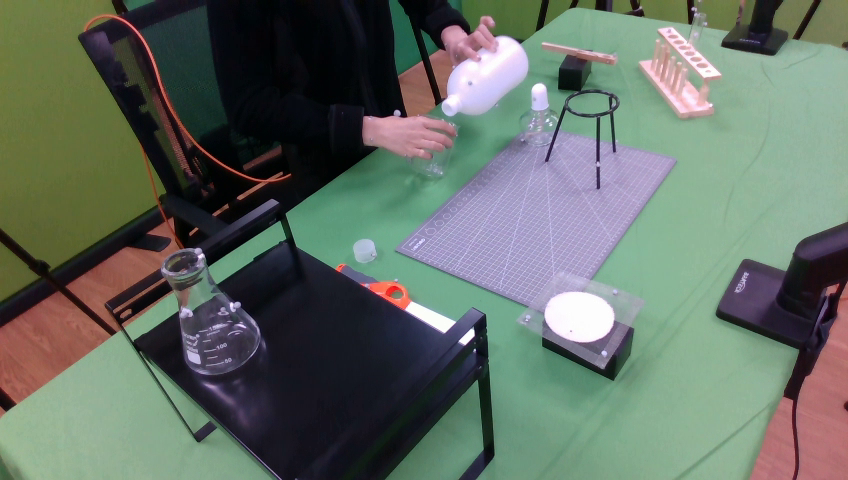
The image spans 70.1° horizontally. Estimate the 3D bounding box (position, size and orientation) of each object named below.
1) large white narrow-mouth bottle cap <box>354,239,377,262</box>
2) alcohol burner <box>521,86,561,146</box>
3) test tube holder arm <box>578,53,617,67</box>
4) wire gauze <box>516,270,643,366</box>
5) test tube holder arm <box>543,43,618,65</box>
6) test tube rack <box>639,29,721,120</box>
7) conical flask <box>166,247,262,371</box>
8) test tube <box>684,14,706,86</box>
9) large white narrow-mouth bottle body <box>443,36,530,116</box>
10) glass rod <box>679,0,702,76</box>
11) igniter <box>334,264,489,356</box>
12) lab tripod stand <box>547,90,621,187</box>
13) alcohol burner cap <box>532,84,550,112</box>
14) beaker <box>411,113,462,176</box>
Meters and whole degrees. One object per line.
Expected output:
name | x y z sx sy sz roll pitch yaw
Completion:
large white narrow-mouth bottle cap | -0.095 0.017 0.981 0.038 0.024 0.037 -4 40 4
alcohol burner | 0.223 -0.241 1.155 0.078 0.119 0.077 -5 43 5
test tube holder arm | 0.376 -0.393 1.314 0.087 0.015 0.010 26 51 32
wire gauze | 0.200 0.093 0.777 0.124 0.011 0.122 23 49 32
test tube holder arm | 0.344 -0.413 1.340 0.177 0.015 0.013 25 51 31
test tube rack | 0.527 -0.351 1.262 0.067 0.085 0.241 -8 40 1
conical flask | -0.208 0.064 0.584 0.075 0.122 0.075 -5 40 4
test tube | 0.540 -0.378 1.215 0.017 0.151 0.017 -2 44 3
large white narrow-mouth bottle body | 0.106 -0.293 1.128 0.101 0.102 0.195 27 58 34
glass rod | 0.543 -0.417 1.233 0.008 0.200 0.008 1 40 0
igniter | -0.030 0.095 0.871 0.274 0.025 0.057 22 59 31
lab tripod stand | 0.288 -0.184 1.062 0.148 0.132 0.147 -6 41 6
alcohol burner cap | 0.218 -0.269 1.133 0.034 0.048 0.033 -8 36 7
beaker | 0.023 -0.174 1.114 0.085 0.100 0.073 2 24 -38
